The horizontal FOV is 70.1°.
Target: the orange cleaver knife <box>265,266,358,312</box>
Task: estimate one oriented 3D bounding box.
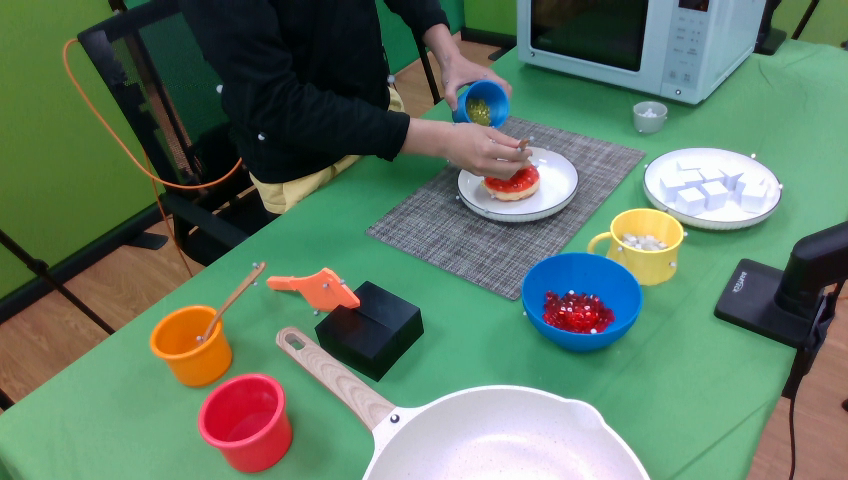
[{"bbox_3d":[-0.164,0.073,0.864,0.210,0.077,0.012,-6,30,50],"label":"orange cleaver knife"}]

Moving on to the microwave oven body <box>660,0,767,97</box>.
[{"bbox_3d":[0.473,-0.517,1.313,0.438,0.261,0.327,26,51,34],"label":"microwave oven body"}]

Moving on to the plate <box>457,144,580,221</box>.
[{"bbox_3d":[0.162,-0.097,1.042,0.209,0.038,0.208,-4,40,4],"label":"plate"}]

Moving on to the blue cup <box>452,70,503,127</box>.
[{"bbox_3d":[0.088,-0.240,1.071,0.093,0.092,0.100,-11,3,-4],"label":"blue cup"}]

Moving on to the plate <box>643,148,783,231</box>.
[{"bbox_3d":[0.464,-0.080,0.985,0.207,0.039,0.206,-4,41,4],"label":"plate"}]

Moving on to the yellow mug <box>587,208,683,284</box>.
[{"bbox_3d":[0.305,0.009,0.884,0.131,0.064,0.099,-4,41,5],"label":"yellow mug"}]

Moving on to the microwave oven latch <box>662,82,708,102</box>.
[{"bbox_3d":[0.518,-0.298,1.203,0.078,0.029,0.030,28,53,35],"label":"microwave oven latch"}]

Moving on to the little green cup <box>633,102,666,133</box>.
[{"bbox_3d":[0.434,-0.237,1.171,0.061,0.039,0.061,-5,40,5],"label":"little green cup"}]

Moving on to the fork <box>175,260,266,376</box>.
[{"bbox_3d":[-0.268,0.103,0.792,0.207,0.019,0.028,-51,41,16],"label":"fork"}]

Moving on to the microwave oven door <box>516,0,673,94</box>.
[{"bbox_3d":[0.344,-0.458,1.256,0.353,0.245,0.039,26,52,33],"label":"microwave oven door"}]

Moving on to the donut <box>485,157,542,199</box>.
[{"bbox_3d":[0.153,-0.108,1.039,0.099,0.048,0.098,-6,37,5],"label":"donut"}]

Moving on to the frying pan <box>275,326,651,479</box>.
[{"bbox_3d":[0.003,0.229,0.641,0.484,0.103,0.308,34,54,28],"label":"frying pan"}]

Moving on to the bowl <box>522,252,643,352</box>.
[{"bbox_3d":[0.204,0.093,0.792,0.151,0.077,0.150,-4,40,4],"label":"bowl"}]

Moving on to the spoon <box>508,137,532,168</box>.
[{"bbox_3d":[0.151,-0.135,0.934,0.041,0.194,0.021,-9,83,6],"label":"spoon"}]
